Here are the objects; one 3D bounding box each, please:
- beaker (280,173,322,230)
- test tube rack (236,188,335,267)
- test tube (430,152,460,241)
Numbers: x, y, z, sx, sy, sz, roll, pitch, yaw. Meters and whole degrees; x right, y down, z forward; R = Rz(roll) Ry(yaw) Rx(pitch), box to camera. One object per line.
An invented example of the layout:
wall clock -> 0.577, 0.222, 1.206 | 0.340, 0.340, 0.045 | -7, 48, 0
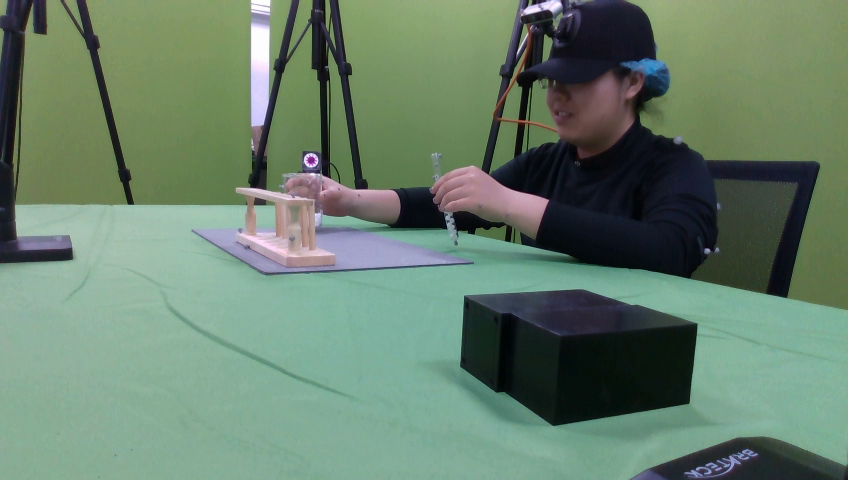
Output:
beaker -> -0.222, -0.071, 1.111 | 0.074, 0.100, 0.083 | -5, 12, -28
test tube rack -> -0.202, -0.024, 0.854 | 0.067, 0.085, 0.241 | -2, 8, -31
test tube -> 0.035, -0.071, 0.991 | 0.017, 0.150, 0.017 | -14, 1, 1
